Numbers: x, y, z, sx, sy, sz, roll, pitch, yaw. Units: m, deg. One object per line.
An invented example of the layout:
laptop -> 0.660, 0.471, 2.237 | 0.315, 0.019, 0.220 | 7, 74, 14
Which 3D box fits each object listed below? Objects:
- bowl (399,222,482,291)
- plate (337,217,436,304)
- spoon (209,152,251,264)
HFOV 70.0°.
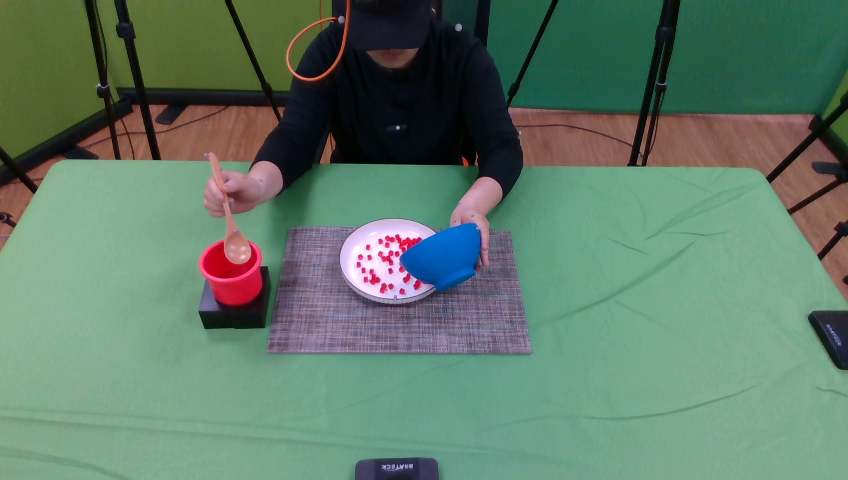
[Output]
bowl -> 0.040, 0.037, 1.040 | 0.151, 0.151, 0.076 | -19, 77, -20
plate -> -0.058, 0.042, 1.137 | 0.208, 0.039, 0.206 | 2, 46, -2
spoon -> -0.325, -0.054, 0.999 | 0.042, 0.021, 0.193 | -14, 89, -17
